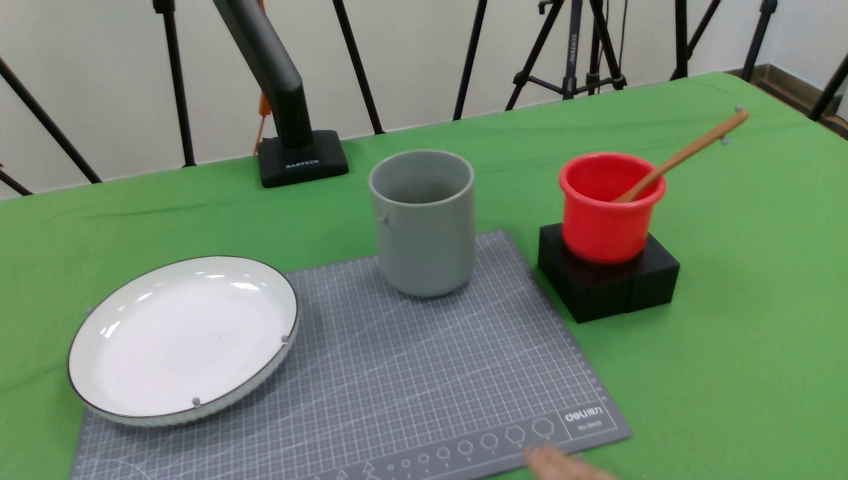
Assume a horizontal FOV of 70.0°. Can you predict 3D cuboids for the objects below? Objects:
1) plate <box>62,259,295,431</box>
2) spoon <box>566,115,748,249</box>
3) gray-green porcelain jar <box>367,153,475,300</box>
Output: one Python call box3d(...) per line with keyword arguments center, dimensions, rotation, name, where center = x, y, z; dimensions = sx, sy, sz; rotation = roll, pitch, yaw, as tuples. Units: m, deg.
box3d(center=(-0.226, 0.098, 0.578), dimensions=(0.207, 0.039, 0.205), rotation=(-2, 38, 2), name="plate")
box3d(center=(0.215, -0.052, 0.570), dimensions=(0.194, 0.022, 0.041), rotation=(-42, 33, 25), name="spoon")
box3d(center=(0.000, -0.009, 0.626), dimensions=(0.106, 0.127, 0.105), rotation=(-2, 38, 2), name="gray-green porcelain jar")
